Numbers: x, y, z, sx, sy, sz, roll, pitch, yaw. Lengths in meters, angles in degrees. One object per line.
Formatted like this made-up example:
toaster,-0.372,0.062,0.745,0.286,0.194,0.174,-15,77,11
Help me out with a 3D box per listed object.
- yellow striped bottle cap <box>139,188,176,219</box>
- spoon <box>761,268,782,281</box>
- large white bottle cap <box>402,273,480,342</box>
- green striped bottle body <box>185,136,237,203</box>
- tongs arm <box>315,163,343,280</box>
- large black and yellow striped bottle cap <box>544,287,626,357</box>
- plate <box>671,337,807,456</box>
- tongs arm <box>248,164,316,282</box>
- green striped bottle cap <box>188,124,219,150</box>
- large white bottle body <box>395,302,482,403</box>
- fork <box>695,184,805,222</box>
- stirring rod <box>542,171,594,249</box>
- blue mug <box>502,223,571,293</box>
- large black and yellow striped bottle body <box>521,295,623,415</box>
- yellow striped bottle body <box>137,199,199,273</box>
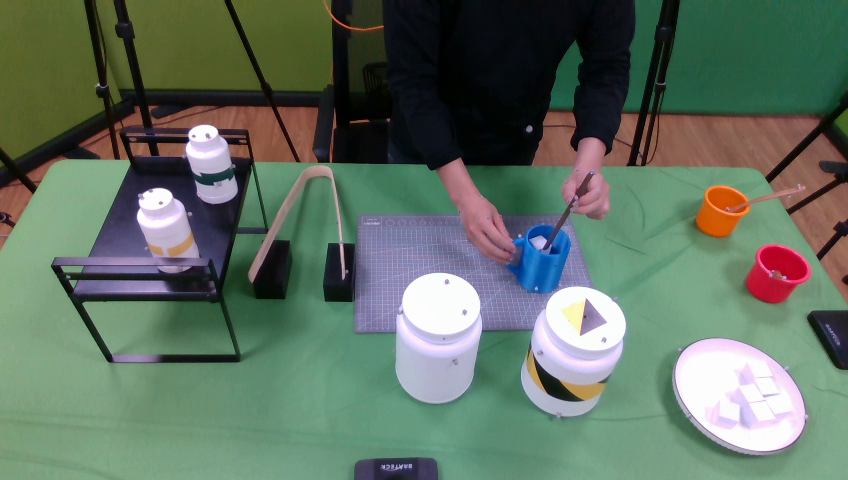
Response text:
yellow striped bottle cap,-0.363,-0.050,0.826,0.044,0.019,0.044,1,47,0
spoon,0.638,0.060,1.105,0.041,0.021,0.194,38,11,24
large white bottle cap,0.024,0.095,0.878,0.115,0.018,0.114,2,47,-2
green striped bottle body,-0.341,-0.121,0.968,0.063,0.120,0.063,2,46,-2
tongs arm,-0.187,-0.049,1.170,0.051,0.026,0.382,-5,35,-6
large black and yellow striped bottle cap,0.232,0.116,0.876,0.115,0.019,0.114,2,46,-1
plate,0.504,0.254,0.984,0.208,0.039,0.206,2,46,-2
tongs arm,-0.269,-0.048,1.165,0.028,0.028,0.385,0,34,7
green striped bottle cap,-0.339,-0.158,0.931,0.044,0.020,0.044,3,48,-3
large white bottle body,0.020,0.153,0.939,0.131,0.185,0.130,2,46,-2
fork,0.657,-0.075,1.230,0.207,0.019,0.028,-23,33,37
stirring rod,0.241,-0.047,1.021,0.014,0.177,0.006,-20,56,-39
blue mug,0.202,0.032,1.121,0.116,0.106,0.082,7,47,4
large black and yellow striped bottle body,0.228,0.173,0.938,0.131,0.185,0.130,2,47,-2
yellow striped bottle body,-0.366,-0.014,0.863,0.063,0.121,0.062,2,46,-2
